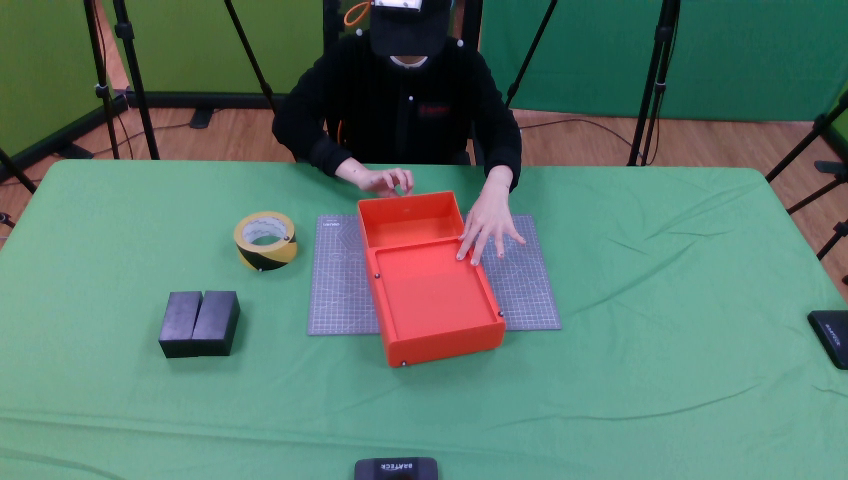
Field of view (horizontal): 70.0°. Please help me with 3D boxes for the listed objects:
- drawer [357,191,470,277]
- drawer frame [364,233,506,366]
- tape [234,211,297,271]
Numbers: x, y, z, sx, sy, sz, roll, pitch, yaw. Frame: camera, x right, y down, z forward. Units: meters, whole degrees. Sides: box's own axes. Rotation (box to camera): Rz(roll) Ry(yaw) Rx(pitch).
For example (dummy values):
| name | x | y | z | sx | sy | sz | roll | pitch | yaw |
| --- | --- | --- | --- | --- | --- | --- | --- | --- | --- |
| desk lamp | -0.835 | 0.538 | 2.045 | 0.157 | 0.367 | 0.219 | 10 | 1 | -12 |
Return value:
| name | x | y | z | sx | sy | sz | roll | pitch | yaw |
| --- | --- | --- | --- | --- | --- | --- | --- | --- | --- |
| drawer | -0.016 | 0.006 | 1.145 | 0.195 | 0.073 | 0.210 | -6 | 46 | -11 |
| drawer frame | 0.013 | 0.097 | 1.058 | 0.202 | 0.083 | 0.212 | -8 | 48 | -13 |
| tape | -0.301 | 0.002 | 1.154 | 0.117 | 0.053 | 0.116 | 2 | 46 | -1 |
